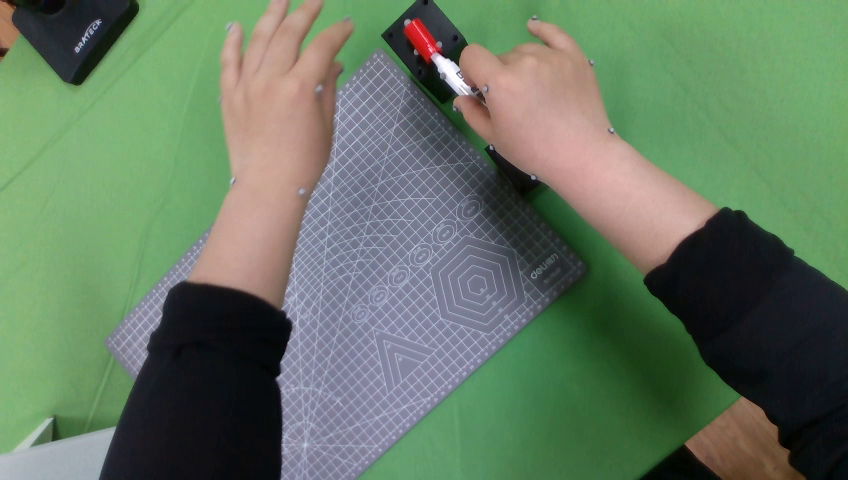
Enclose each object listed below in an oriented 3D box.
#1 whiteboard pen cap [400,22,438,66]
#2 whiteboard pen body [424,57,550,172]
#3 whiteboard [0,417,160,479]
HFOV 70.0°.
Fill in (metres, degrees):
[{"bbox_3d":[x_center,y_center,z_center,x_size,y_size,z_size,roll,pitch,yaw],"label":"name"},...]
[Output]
[{"bbox_3d":[-0.004,-0.157,0.486,0.017,0.017,0.032,-37,87,11],"label":"whiteboard pen cap"},{"bbox_3d":[0.045,-0.105,0.481,0.140,0.017,0.017,44,100,8],"label":"whiteboard pen body"},{"bbox_3d":[-0.445,0.292,0.589,0.143,0.307,0.217,10,94,32],"label":"whiteboard"}]
